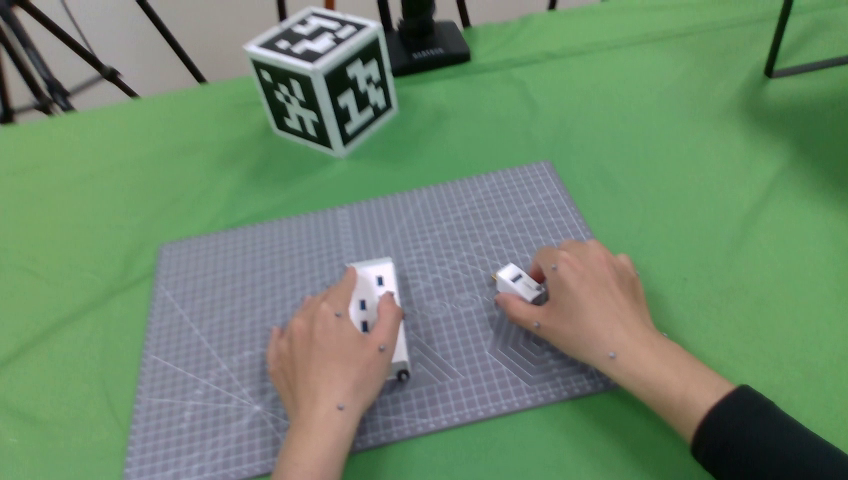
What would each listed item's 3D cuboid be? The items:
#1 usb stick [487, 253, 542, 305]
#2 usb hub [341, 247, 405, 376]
[{"bbox_3d":[0.081,0.032,0.557,0.021,0.027,0.058,-34,47,-20],"label":"usb stick"},{"bbox_3d":[-0.049,0.062,0.552,0.049,0.025,0.124,-10,46,0],"label":"usb hub"}]
